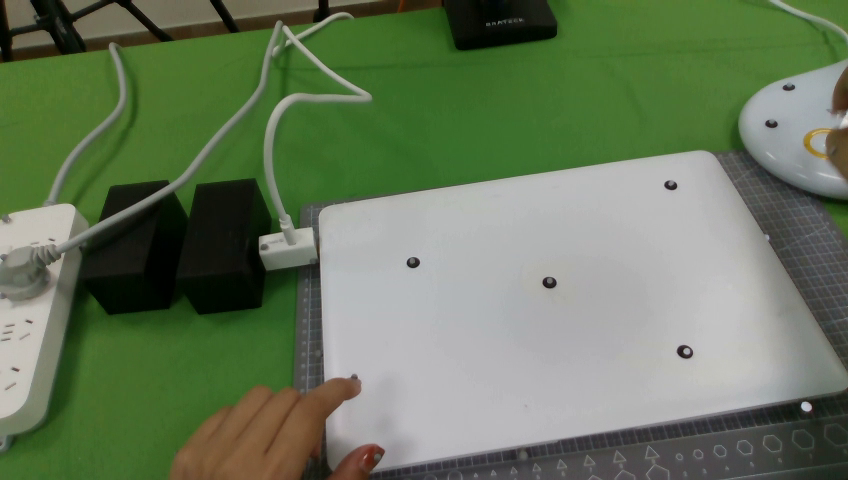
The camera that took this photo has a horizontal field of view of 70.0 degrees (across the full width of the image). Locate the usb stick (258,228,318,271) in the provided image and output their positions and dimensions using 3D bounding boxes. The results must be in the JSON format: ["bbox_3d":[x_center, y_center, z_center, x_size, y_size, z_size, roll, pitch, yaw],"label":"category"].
[{"bbox_3d":[-0.105,0.007,0.501,0.059,0.027,0.021,-8,49,-8],"label":"usb stick"}]

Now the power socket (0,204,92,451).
[{"bbox_3d":[-0.324,0.057,0.486,0.072,0.033,0.224,-9,50,-4],"label":"power socket"}]

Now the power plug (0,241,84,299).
[{"bbox_3d":[-0.298,0.029,0.476,0.072,0.053,0.035,-1,50,3],"label":"power plug"}]

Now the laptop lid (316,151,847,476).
[{"bbox_3d":[0.095,0.036,0.461,0.357,0.013,0.239,-7,52,-1],"label":"laptop lid"}]

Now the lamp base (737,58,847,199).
[{"bbox_3d":[0.374,-0.154,0.505,0.159,0.182,0.178,23,52,23],"label":"lamp base"}]

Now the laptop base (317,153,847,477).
[{"bbox_3d":[0.097,0.041,0.471,0.354,0.023,0.233,-9,54,-2],"label":"laptop base"}]
